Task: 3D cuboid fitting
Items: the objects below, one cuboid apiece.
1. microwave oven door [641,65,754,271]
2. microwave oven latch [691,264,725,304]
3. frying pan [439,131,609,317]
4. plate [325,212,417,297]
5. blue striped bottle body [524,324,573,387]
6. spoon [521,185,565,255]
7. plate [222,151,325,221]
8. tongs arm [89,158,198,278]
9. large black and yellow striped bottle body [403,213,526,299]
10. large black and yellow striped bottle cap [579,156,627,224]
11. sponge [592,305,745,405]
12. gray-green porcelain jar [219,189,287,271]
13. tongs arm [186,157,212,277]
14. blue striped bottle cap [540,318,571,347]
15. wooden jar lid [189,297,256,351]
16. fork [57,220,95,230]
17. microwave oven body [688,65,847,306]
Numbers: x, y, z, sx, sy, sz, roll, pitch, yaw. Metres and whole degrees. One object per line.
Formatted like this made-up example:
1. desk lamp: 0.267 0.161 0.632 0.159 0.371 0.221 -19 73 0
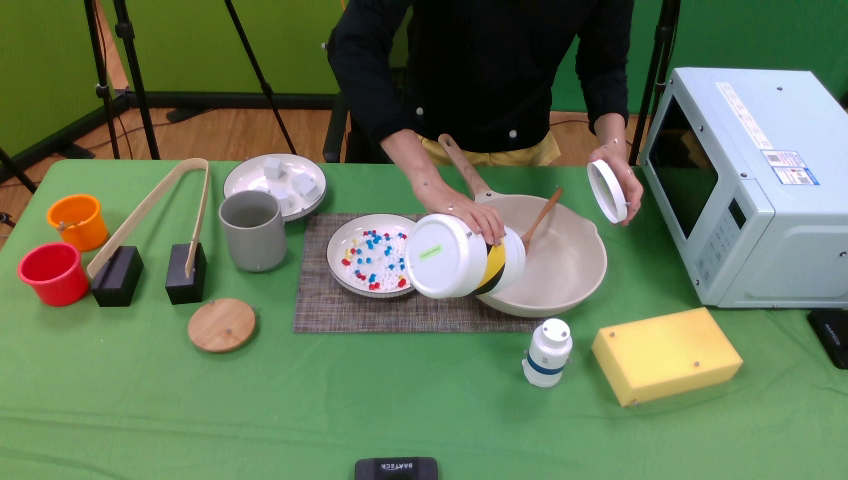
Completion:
1. microwave oven door: 0.524 -0.148 1.193 0.039 0.245 0.353 0 47 -3
2. microwave oven latch: 0.521 0.081 1.116 0.030 0.029 0.078 0 46 -3
3. frying pan: 0.149 -0.049 1.190 0.307 0.103 0.484 -17 58 -20
4. plate: -0.080 0.030 1.143 0.209 0.038 0.208 3 46 -2
5. blue striped bottle body: 0.200 0.178 0.970 0.063 0.121 0.062 2 46 -2
6. spoon: 0.224 -0.034 1.192 0.041 0.022 0.193 30 81 36
7. plate: -0.310 -0.106 1.262 0.208 0.039 0.206 2 47 -2
8. tongs arm: -0.529 -0.057 1.164 0.028 0.028 0.385 1 36 8
9. large black and yellow striped bottle body: 0.071 0.026 0.980 0.185 0.131 0.130 2 36 -48
10. large black and yellow striped bottle cap: 0.303 -0.085 1.031 0.019 0.115 0.114 -14 49 -16
11. sponge: 0.405 0.190 1.014 0.207 0.061 0.117 -10 48 -12
12. gray-green porcelain jar: -0.310 -0.014 1.113 0.106 0.127 0.105 2 46 -2
13. tongs arm: -0.445 -0.058 1.168 0.051 0.026 0.382 -5 37 -6
14. blue striped bottle cap: 0.203 0.142 0.933 0.044 0.021 0.044 4 49 -4
15. wooden jar lid: -0.342 0.145 1.033 0.108 0.021 0.107 2 45 -2
16. fork: -0.624 -0.027 1.087 0.028 0.207 0.018 -3 92 -17
17. microwave oven body: 0.669 -0.111 1.176 0.326 0.261 0.439 0 46 -3
